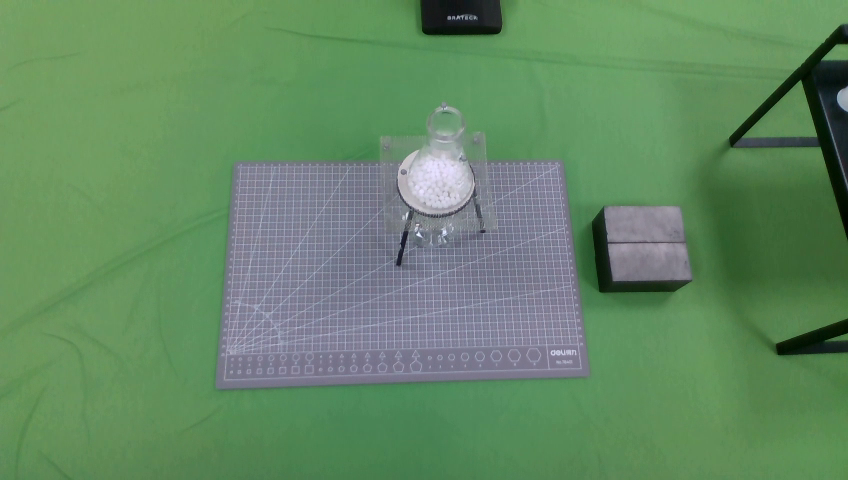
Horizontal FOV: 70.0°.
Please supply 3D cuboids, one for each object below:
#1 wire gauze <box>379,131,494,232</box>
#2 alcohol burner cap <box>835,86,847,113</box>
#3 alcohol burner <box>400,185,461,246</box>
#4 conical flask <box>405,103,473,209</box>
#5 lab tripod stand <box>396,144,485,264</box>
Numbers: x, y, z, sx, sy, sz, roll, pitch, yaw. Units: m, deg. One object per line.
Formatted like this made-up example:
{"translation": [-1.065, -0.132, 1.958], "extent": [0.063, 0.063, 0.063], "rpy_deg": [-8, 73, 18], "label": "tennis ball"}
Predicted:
{"translation": [0.013, -0.067, 0.675], "extent": [0.125, 0.011, 0.120], "rpy_deg": [-1, 72, -6], "label": "wire gauze"}
{"translation": [0.487, -0.166, 0.672], "extent": [0.034, 0.048, 0.033], "rpy_deg": [1, 71, -3], "label": "alcohol burner cap"}
{"translation": [0.008, -0.037, 0.745], "extent": [0.078, 0.120, 0.077], "rpy_deg": [0, 71, -1], "label": "alcohol burner"}
{"translation": [0.018, -0.088, 0.620], "extent": [0.075, 0.122, 0.075], "rpy_deg": [1, 68, -2], "label": "conical flask"}
{"translation": [0.008, -0.049, 0.739], "extent": [0.148, 0.132, 0.147], "rpy_deg": [1, 70, -1], "label": "lab tripod stand"}
